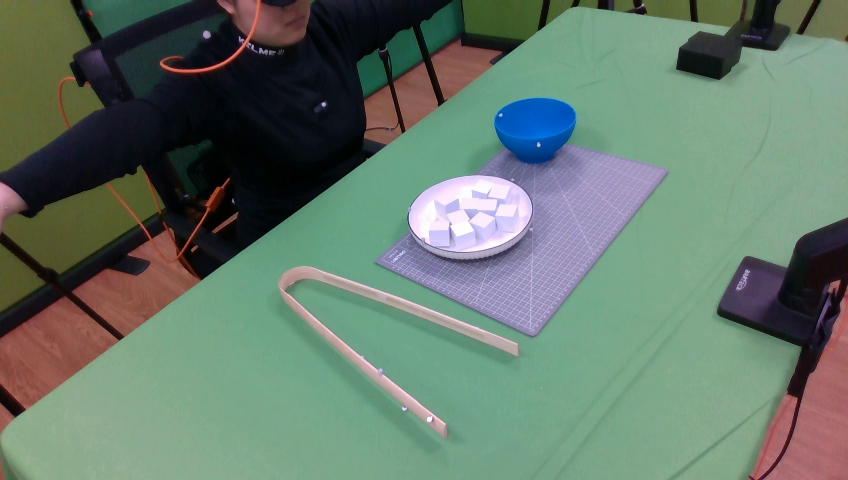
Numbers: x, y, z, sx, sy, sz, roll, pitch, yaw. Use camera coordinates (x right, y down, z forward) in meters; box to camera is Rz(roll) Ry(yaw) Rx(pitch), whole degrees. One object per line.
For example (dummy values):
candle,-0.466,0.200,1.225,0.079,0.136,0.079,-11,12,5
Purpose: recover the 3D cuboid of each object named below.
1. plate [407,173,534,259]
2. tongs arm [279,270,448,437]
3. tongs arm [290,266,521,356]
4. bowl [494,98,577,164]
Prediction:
plate,0.076,-0.037,0.997,0.207,0.039,0.206,-5,40,5
tongs arm,-0.092,0.140,0.825,0.381,0.026,0.051,28,52,37
tongs arm,-0.039,0.097,0.871,0.385,0.028,0.028,16,49,28
bowl,0.207,-0.196,1.128,0.151,0.077,0.150,-5,40,5
